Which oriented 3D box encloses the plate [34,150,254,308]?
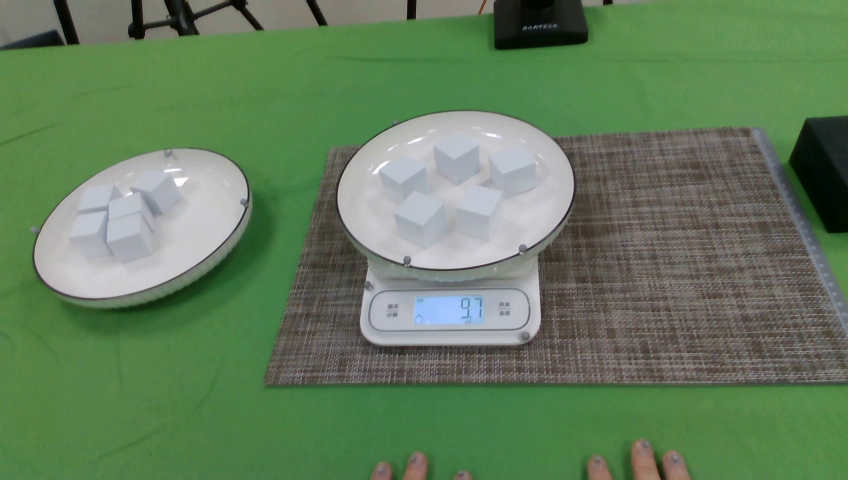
[{"bbox_3d":[-0.270,-0.011,0.602,0.209,0.038,0.207,-4,46,4],"label":"plate"}]

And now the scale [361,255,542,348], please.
[{"bbox_3d":[0.027,0.006,0.541,0.148,0.032,0.199,-1,47,8],"label":"scale"}]

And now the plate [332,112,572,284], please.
[{"bbox_3d":[0.024,-0.037,0.537,0.207,0.039,0.205,-3,47,4],"label":"plate"}]
